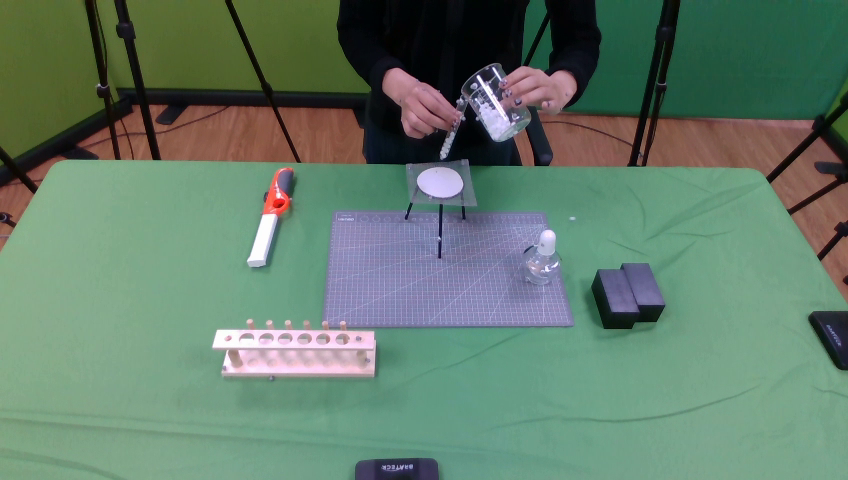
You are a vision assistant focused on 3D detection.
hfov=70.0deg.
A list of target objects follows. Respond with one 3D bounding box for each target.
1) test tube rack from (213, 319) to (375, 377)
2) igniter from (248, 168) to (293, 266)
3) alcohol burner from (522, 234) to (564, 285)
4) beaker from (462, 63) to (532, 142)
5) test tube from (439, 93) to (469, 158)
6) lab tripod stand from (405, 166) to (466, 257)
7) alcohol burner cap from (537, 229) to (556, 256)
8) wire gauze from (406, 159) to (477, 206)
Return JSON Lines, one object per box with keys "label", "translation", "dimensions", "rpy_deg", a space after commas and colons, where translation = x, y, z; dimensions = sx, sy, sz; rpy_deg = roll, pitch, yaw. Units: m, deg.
{"label": "test tube rack", "translation": [-0.202, 0.170, 0.977], "dimensions": [0.242, 0.085, 0.066], "rpy_deg": [1, 46, -3]}
{"label": "igniter", "translation": [-0.307, -0.055, 1.225], "dimensions": [0.057, 0.025, 0.275], "rpy_deg": [-3, 45, 6]}
{"label": "alcohol burner", "translation": [0.223, 0.027, 1.120], "dimensions": [0.078, 0.119, 0.077], "rpy_deg": [2, 48, -2]}
{"label": "beaker", "translation": [0.113, -0.210, 0.942], "dimensions": [0.074, 0.084, 0.100], "rpy_deg": [-23, 80, -45]}
{"label": "test tube", "translation": [0.050, -0.192, 1.039], "dimensions": [0.017, 0.151, 0.017], "rpy_deg": [7, 56, -10]}
{"label": "lab tripod stand", "translation": [0.030, -0.063, 1.180], "dimensions": [0.148, 0.132, 0.147], "rpy_deg": [3, 47, -3]}
{"label": "alcohol burner cap", "translation": [0.223, 0.001, 1.095], "dimensions": [0.034, 0.048, 0.033], "rpy_deg": [-1, 43, 1]}
{"label": "wire gauze", "translation": [0.031, -0.108, 1.129], "dimensions": [0.125, 0.011, 0.120], "rpy_deg": [-1, 48, -5]}
